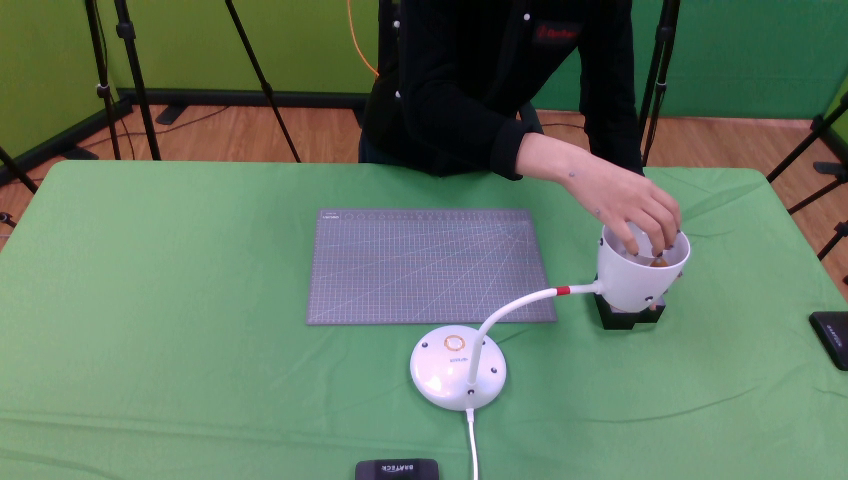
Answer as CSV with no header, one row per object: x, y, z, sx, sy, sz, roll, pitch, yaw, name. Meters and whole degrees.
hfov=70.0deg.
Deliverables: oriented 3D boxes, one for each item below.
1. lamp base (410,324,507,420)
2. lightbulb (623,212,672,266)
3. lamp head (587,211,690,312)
0.064,0.163,0.937,0.161,0.181,0.178,-10,51,-13,lamp base
0.288,0.012,0.802,0.059,0.108,0.059,3,39,-3,lightbulb
0.281,0.040,0.820,0.112,0.123,0.111,6,41,-5,lamp head
